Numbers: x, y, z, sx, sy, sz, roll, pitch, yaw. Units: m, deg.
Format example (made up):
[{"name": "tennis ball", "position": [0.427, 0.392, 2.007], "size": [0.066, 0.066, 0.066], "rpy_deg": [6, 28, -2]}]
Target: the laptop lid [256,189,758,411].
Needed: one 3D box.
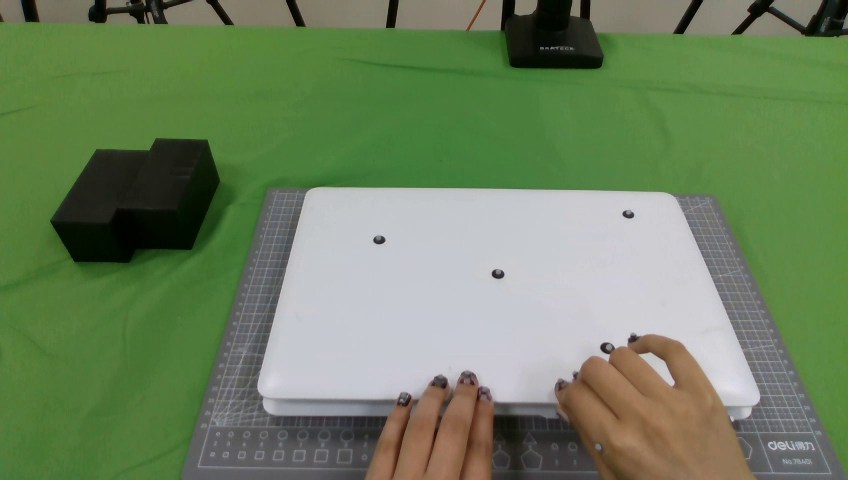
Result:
[{"name": "laptop lid", "position": [0.059, 0.034, 0.496], "size": [0.357, 0.013, 0.239], "rpy_deg": [2, 44, 0]}]

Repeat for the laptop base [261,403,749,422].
[{"name": "laptop base", "position": [0.060, 0.048, 0.512], "size": [0.354, 0.023, 0.233], "rpy_deg": [1, 49, -1]}]
